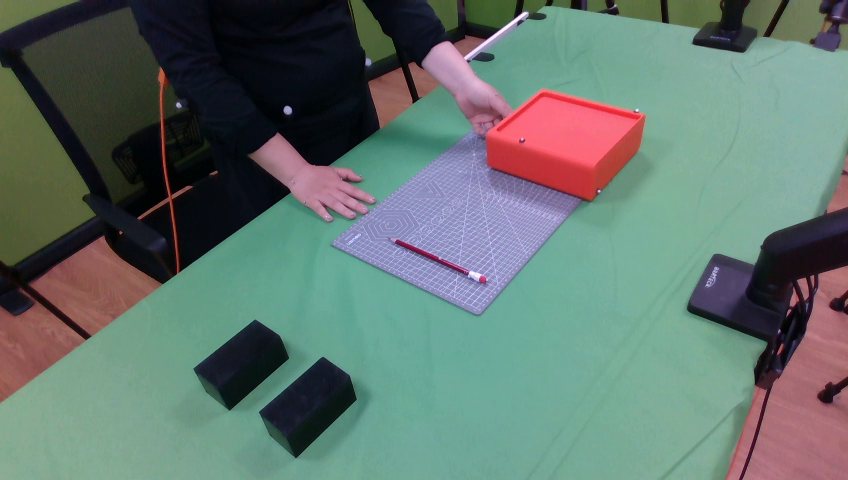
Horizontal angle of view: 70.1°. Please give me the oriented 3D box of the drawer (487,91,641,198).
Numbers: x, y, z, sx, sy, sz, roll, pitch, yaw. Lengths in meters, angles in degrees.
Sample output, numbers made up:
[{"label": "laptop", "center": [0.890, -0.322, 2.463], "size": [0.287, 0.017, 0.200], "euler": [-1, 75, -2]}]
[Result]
[{"label": "drawer", "center": [0.251, -0.178, 1.095], "size": [0.210, 0.073, 0.195], "euler": [25, 48, 30]}]

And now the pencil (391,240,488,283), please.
[{"label": "pencil", "center": [0.018, 0.030, 0.938], "size": [0.192, 0.012, 0.012], "euler": [22, 48, 33]}]

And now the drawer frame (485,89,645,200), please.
[{"label": "drawer frame", "center": [0.253, -0.179, 1.094], "size": [0.212, 0.083, 0.202], "euler": [24, 48, 30]}]
